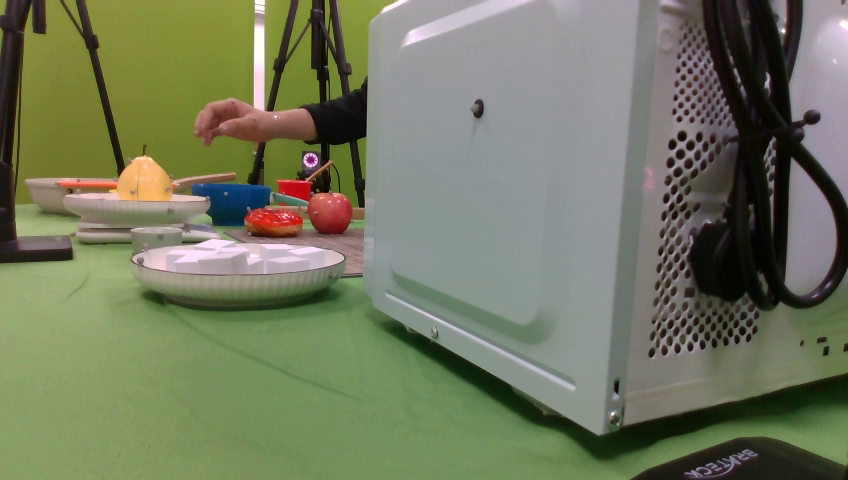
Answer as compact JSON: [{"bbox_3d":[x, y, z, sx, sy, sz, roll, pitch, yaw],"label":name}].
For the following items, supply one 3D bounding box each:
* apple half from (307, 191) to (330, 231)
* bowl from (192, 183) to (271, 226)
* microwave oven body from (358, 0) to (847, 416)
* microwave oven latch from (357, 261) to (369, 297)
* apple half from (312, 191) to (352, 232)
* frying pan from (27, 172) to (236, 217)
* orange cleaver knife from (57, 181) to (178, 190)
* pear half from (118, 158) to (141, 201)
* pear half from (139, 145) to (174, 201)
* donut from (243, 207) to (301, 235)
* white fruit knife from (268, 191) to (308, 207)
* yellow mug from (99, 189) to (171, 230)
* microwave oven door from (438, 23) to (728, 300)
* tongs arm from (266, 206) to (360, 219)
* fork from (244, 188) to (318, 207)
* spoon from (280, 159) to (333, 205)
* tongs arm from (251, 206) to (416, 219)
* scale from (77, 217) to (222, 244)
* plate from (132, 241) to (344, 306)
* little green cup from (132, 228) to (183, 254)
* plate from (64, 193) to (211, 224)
[{"bbox_3d":[-0.197,-0.055,1.115,0.032,0.081,0.081,9,9,21],"label":"apple half"},{"bbox_3d":[-0.382,-0.070,1.202,0.151,0.077,0.151,3,7,0],"label":"bowl"},{"bbox_3d":[0.211,-0.047,0.474,0.444,0.260,0.324,-1,7,-28],"label":"microwave oven body"},{"bbox_3d":[-0.019,0.033,0.530,0.079,0.029,0.030,-1,7,-27],"label":"microwave oven latch"},{"bbox_3d":[-0.160,-0.050,1.101,0.053,0.074,0.081,9,7,22],"label":"apple half"},{"bbox_3d":[-0.624,-0.118,1.387,0.305,0.102,0.490,8,17,32],"label":"frying pan"},{"bbox_3d":[-0.600,-0.109,1.189,0.212,0.012,0.077,-1,11,-26],"label":"orange cleaver knife"},{"bbox_3d":[-0.454,-0.083,0.932,0.031,0.088,0.070,-2,11,-34],"label":"pear half"},{"bbox_3d":[-0.423,-0.094,0.949,0.056,0.110,0.076,-3,12,-33],"label":"pear half"},{"bbox_3d":[-0.261,-0.032,1.043,0.099,0.048,0.099,4,8,0],"label":"donut"},{"bbox_3d":[-0.364,-0.105,1.464,0.208,0.027,0.016,15,-1,-34],"label":"white fruit knife"},{"bbox_3d":[-0.519,-0.055,1.080,0.099,0.064,0.131,7,9,26],"label":"yellow mug"},{"bbox_3d":[0.181,-0.073,0.621,0.358,0.243,0.039,-2,8,-29],"label":"microwave oven door"},{"bbox_3d":[-0.173,-0.061,1.362,0.387,0.026,0.050,-1,2,-31],"label":"tongs arm"},{"bbox_3d":[-0.356,-0.105,1.526,0.208,0.018,0.028,16,-6,-41],"label":"fork"},{"bbox_3d":[-0.317,-0.159,1.640,0.194,0.022,0.041,-49,32,-20],"label":"spoon"},{"bbox_3d":[-0.210,-0.066,1.440,0.389,0.027,0.028,0,-2,-17],"label":"tongs arm"},{"bbox_3d":[-0.434,-0.019,0.963,0.202,0.031,0.148,-1,8,-27],"label":"scale"},{"bbox_3d":[-0.187,0.033,0.625,0.208,0.039,0.207,2,8,0],"label":"plate"},{"bbox_3d":[-0.342,0.006,0.779,0.061,0.038,0.061,2,8,0],"label":"little green cup"},{"bbox_3d":[-0.446,-0.051,0.951,0.209,0.038,0.209,2,7,0],"label":"plate"}]
